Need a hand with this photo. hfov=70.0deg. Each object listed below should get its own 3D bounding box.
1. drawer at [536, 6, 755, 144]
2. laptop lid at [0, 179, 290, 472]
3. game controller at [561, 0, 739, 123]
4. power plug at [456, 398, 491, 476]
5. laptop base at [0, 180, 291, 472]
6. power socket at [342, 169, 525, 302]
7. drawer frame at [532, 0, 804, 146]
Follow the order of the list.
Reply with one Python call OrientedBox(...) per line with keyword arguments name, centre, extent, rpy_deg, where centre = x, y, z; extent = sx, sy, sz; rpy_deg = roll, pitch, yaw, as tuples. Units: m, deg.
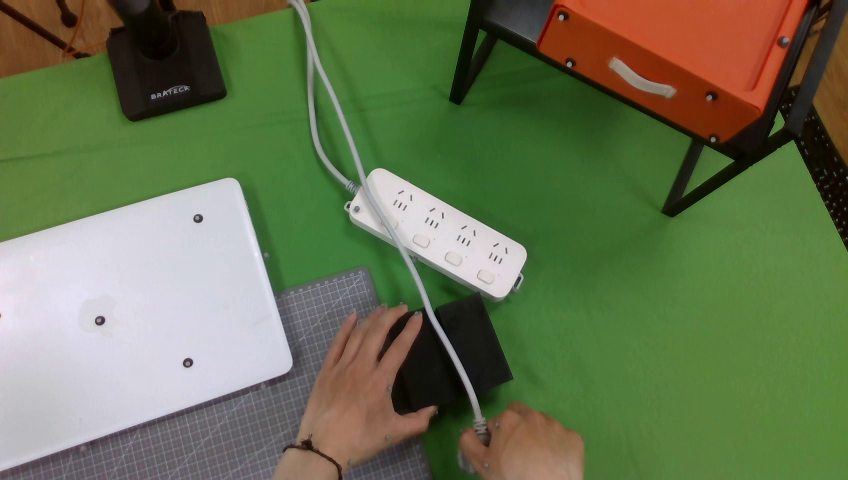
OrientedBox(name="drawer", centre=(0.239, -0.227, 0.570), extent=(0.194, 0.073, 0.211), rpy_deg=(28, 75, 3))
OrientedBox(name="laptop lid", centre=(-0.344, 0.087, 0.645), extent=(0.357, 0.013, 0.240), rpy_deg=(-16, 79, -9))
OrientedBox(name="game controller", centre=(0.219, -0.187, 0.572), extent=(0.155, 0.052, 0.097), rpy_deg=(31, 79, 6))
OrientedBox(name="power plug", centre=(0.055, 0.205, 0.621), extent=(0.035, 0.053, 0.072), rpy_deg=(21, 63, -10))
OrientedBox(name="laptop base", centre=(-0.345, 0.088, 0.658), extent=(0.355, 0.023, 0.234), rpy_deg=(-18, 81, -9))
OrientedBox(name="power socket", centre=(0.014, -0.005, 0.705), extent=(0.226, 0.033, 0.072), rpy_deg=(29, 75, 3))
OrientedBox(name="drawer frame", centre=(0.238, -0.230, 0.569), extent=(0.201, 0.083, 0.213), rpy_deg=(27, 75, 3))
